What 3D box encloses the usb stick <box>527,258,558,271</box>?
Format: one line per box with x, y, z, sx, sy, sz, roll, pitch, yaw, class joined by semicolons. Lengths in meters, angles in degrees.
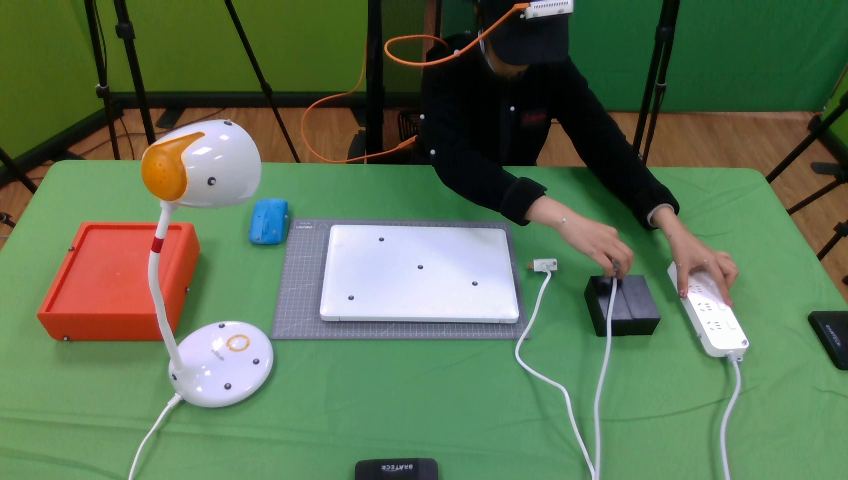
0.226;0.047;1.159;0.059;0.021;0.027;-3;9;11;usb stick

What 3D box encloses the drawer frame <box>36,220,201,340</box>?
-0.518;0.065;1.055;0.202;0.083;0.212;0;47;-5;drawer frame

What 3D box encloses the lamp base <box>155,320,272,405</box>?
-0.330;0.149;0.918;0.160;0.181;0.179;26;52;20;lamp base

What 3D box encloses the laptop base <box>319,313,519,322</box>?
-0.009;0.063;1.137;0.354;0.023;0.234;1;42;-3;laptop base

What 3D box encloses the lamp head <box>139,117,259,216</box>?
-0.281;-0.086;0.734;0.112;0.113;0.123;21;25;16;lamp head

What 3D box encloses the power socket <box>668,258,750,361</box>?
0.517;0.118;1.109;0.072;0.033;0.225;-2;46;-5;power socket

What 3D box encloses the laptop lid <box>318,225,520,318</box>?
-0.009;0.053;1.130;0.357;0.013;0.240;2;43;-2;laptop lid

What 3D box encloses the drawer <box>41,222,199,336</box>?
-0.519;0.064;1.057;0.195;0.073;0.210;1;46;-4;drawer

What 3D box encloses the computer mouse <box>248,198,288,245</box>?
-0.309;-0.041;1.205;0.063;0.041;0.116;3;50;-3;computer mouse

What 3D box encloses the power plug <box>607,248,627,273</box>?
0.367;0.035;1.123;0.035;0.072;0.052;30;66;-6;power plug
